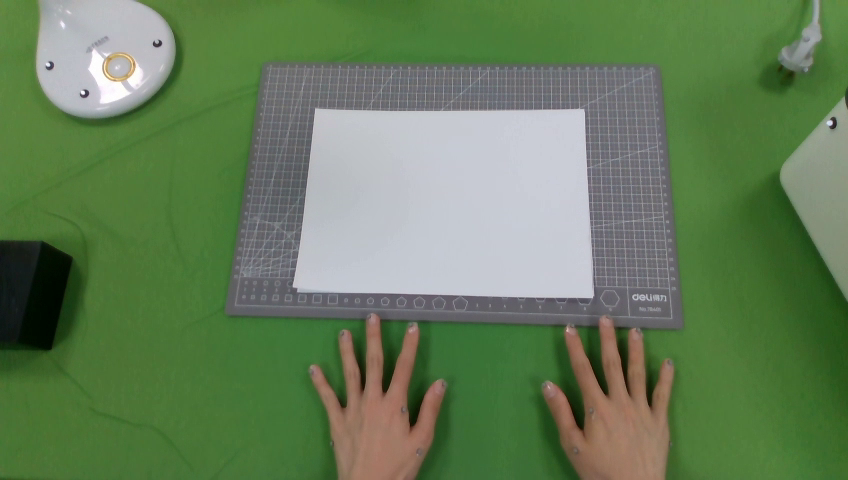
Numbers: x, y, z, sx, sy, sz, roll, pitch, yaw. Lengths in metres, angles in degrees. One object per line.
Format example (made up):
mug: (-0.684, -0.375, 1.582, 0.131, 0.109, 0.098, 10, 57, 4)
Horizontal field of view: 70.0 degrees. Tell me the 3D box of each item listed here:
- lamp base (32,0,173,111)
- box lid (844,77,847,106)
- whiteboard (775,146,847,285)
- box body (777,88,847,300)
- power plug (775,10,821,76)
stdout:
lamp base: (-0.386, -0.252, 0.633, 0.178, 0.181, 0.160, 34, 76, 16)
box lid: (0.510, -0.016, 0.440, 0.263, 0.015, 0.368, -19, 72, -3)
whiteboard: (0.515, 0.002, 0.525, 0.217, 0.145, 0.303, -19, 71, -7)
box body: (0.515, 0.011, 0.510, 0.254, 0.161, 0.361, -19, 72, -3)
power plug: (0.408, -0.209, 0.654, 0.072, 0.053, 0.035, -34, 68, -30)
